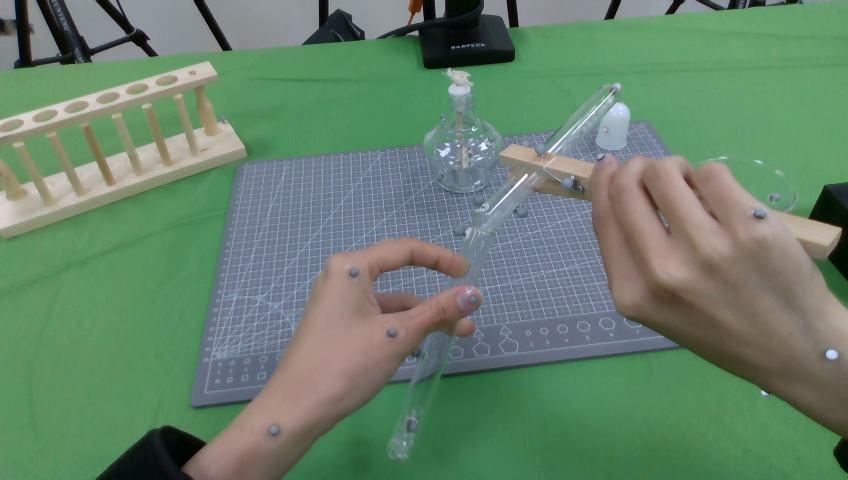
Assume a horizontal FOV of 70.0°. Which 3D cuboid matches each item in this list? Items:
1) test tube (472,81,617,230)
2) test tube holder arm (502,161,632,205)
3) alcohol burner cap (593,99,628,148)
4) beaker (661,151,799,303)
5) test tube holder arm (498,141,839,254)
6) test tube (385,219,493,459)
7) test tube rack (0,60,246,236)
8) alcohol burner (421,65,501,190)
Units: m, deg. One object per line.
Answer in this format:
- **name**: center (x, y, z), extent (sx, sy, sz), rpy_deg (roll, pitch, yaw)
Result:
- **test tube**: center (0.077, -0.056, 0.364), extent (0.017, 0.017, 0.150), rpy_deg (27, 56, 29)
- **test tube holder arm**: center (0.079, -0.034, 0.337), extent (0.015, 0.010, 0.087), rpy_deg (-39, 35, -23)
- **alcohol burner cap**: center (0.195, -0.124, 0.631), extent (0.034, 0.048, 0.033), rpy_deg (-2, 44, 2)
- **beaker**: center (0.226, -0.008, 0.467), extent (0.074, 0.101, 0.083), rpy_deg (-28, 48, -23)
- **test tube holder arm**: center (0.105, -0.027, 0.301), extent (0.015, 0.013, 0.176), rpy_deg (-40, 38, -23)
- **test tube**: center (0.007, 0.059, 0.344), extent (0.017, 0.151, 0.017), rpy_deg (19, 12, -4)
- **test tube rack**: center (-0.316, -0.097, 0.610), extent (0.243, 0.086, 0.066), rpy_deg (-23, 47, -20)
- **alcohol burner**: center (0.035, -0.108, 0.573), extent (0.078, 0.120, 0.077), rpy_deg (-3, 42, 3)
